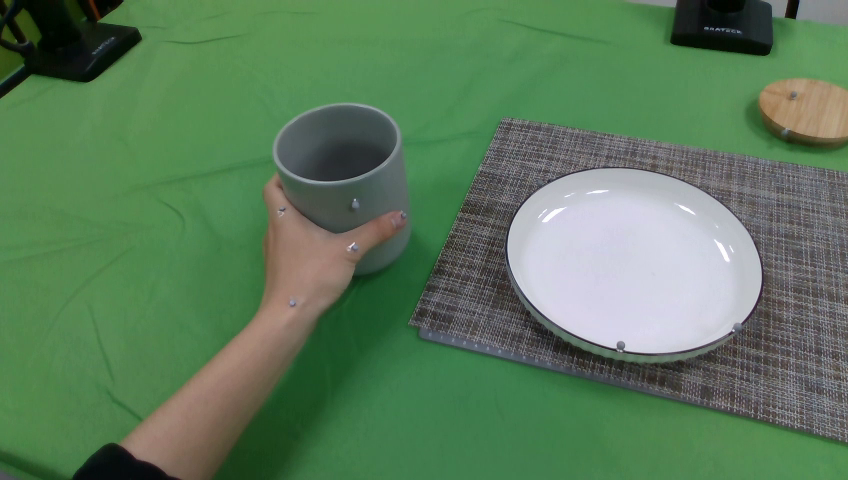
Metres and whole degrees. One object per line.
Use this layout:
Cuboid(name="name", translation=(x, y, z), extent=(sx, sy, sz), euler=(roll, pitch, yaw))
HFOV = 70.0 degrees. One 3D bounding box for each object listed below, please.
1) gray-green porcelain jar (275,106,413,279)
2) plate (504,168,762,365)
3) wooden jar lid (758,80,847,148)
Cuboid(name="gray-green porcelain jar", translation=(-0.065, -0.036, 0.537), extent=(0.106, 0.128, 0.105), euler=(-2, 48, 3))
Cuboid(name="plate", translation=(0.172, 0.021, 0.520), extent=(0.207, 0.039, 0.205), euler=(-2, 48, 3))
Cuboid(name="wooden jar lid", translation=(0.420, -0.136, 0.657), extent=(0.108, 0.021, 0.107), euler=(-2, 49, 3))
